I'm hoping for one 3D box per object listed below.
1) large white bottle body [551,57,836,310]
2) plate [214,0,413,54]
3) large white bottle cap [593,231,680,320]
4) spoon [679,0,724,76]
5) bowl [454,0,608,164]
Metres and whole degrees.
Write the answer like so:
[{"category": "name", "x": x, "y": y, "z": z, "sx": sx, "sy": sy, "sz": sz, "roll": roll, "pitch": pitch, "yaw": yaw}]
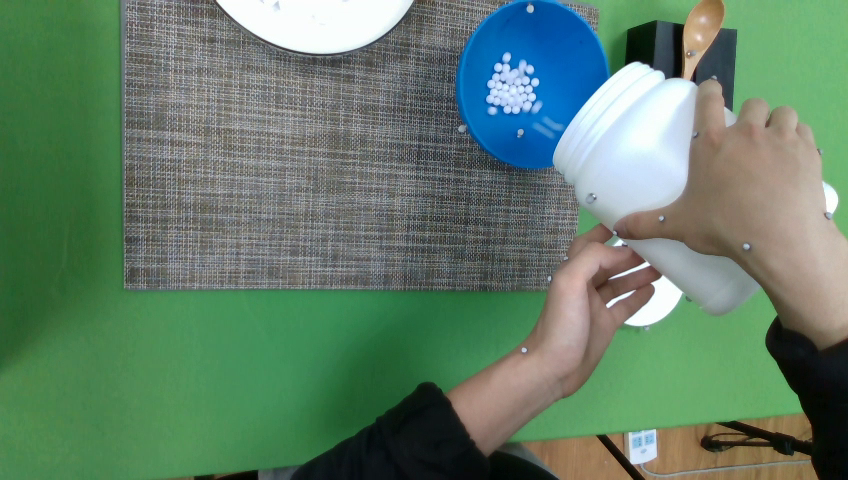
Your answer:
[{"category": "large white bottle body", "x": 0.206, "y": -0.049, "z": 0.490, "sx": 0.130, "sy": 0.131, "sz": 0.183, "roll": -43, "pitch": 73, "yaw": -7}, {"category": "plate", "x": -0.100, "y": -0.265, "z": 0.527, "sx": 0.210, "sy": 0.038, "sz": 0.209, "roll": -2, "pitch": 96, "yaw": -17}, {"category": "large white bottle cap", "x": 0.247, "y": 0.036, "z": 0.694, "sx": 0.115, "sy": 0.018, "sz": 0.115, "roll": -3, "pitch": 100, "yaw": -17}, {"category": "spoon", "x": 0.258, "y": -0.153, "z": 0.619, "sx": 0.042, "sy": 0.021, "sz": 0.194, "roll": 14, "pitch": 99, "yaw": -21}, {"category": "bowl", "x": 0.091, "y": -0.148, "z": 0.582, "sx": 0.152, "sy": 0.076, "sz": 0.151, "roll": -2, "pitch": 99, "yaw": -16}]
